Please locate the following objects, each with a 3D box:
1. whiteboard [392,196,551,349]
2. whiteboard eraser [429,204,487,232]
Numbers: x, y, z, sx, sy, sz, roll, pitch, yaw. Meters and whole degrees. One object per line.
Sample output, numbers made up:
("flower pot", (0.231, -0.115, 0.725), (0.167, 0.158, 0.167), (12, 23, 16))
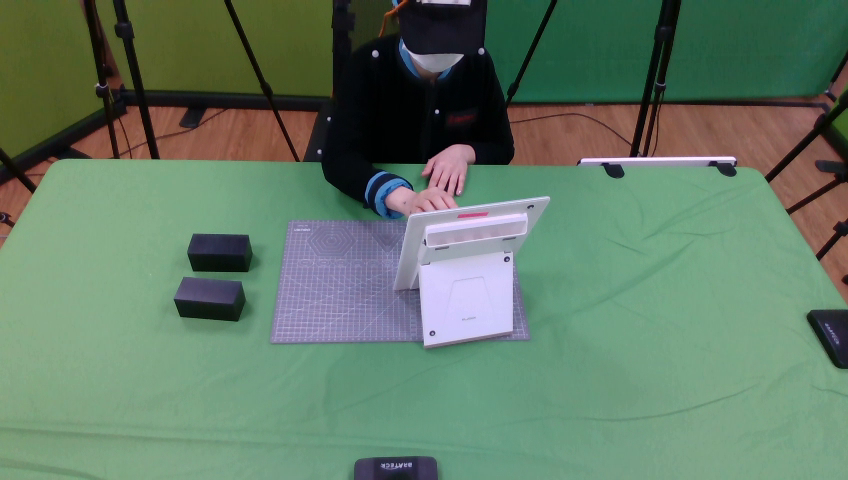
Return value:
("whiteboard", (0.077, 0.071, 0.977), (0.217, 0.306, 0.143), (-7, 67, -11))
("whiteboard eraser", (0.056, -0.037, 1.021), (0.101, 0.041, 0.019), (-20, 75, 20))
